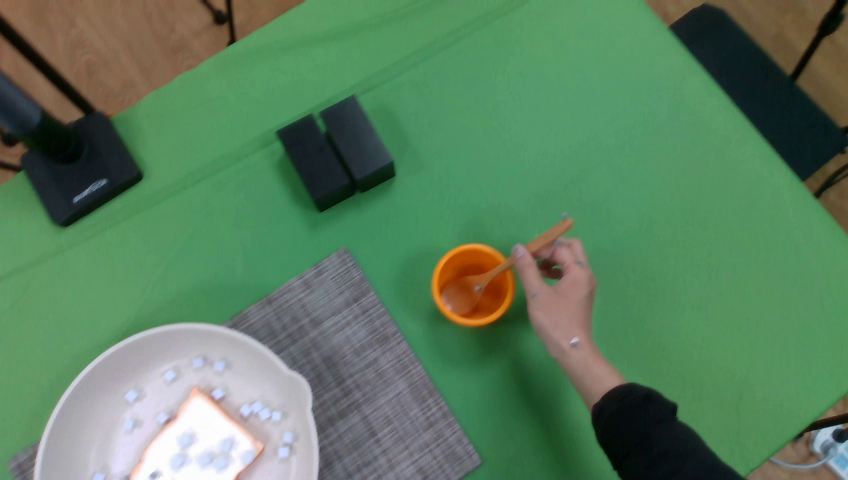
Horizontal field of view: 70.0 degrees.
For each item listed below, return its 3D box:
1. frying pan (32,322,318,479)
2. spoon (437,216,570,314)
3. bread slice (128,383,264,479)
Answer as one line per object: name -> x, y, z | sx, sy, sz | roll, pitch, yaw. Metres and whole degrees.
frying pan -> -0.202, 0.318, 0.614 | 0.307, 0.103, 0.484 | -31, 70, -6
spoon -> 0.083, 0.029, 0.667 | 0.022, 0.194, 0.041 | -17, 74, -50
bread slice -> -0.257, 0.246, 0.673 | 0.106, 0.018, 0.134 | 34, 77, 8
